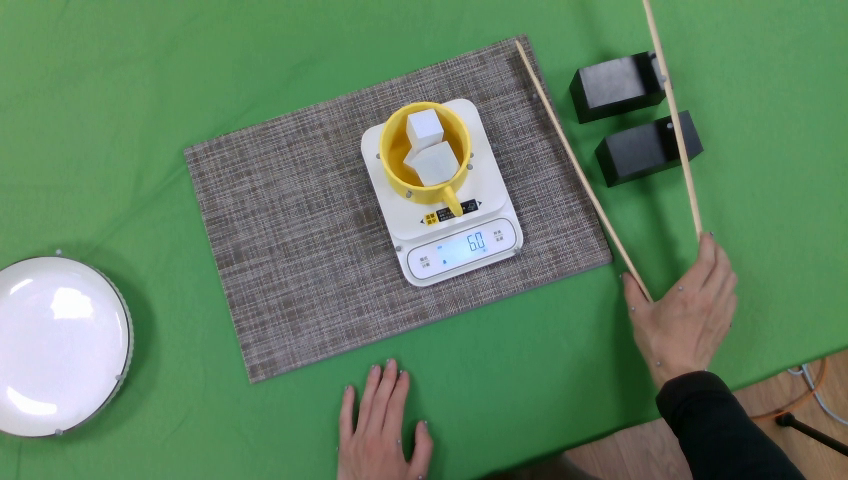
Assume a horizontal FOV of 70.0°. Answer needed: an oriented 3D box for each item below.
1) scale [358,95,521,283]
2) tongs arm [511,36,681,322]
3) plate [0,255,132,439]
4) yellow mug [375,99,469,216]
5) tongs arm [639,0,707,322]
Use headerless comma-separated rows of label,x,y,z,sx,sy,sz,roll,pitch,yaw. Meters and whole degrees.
scale,0.018,-0.062,0.717,0.149,0.031,0.200,-19,82,0
tongs arm,0.194,-0.075,0.711,0.028,0.028,0.386,-29,82,18
plate,-0.440,0.123,0.706,0.207,0.039,0.207,0,82,1
yellow mug,0.006,-0.085,0.673,0.100,0.064,0.130,-29,83,-3
tongs arm,0.264,-0.101,0.678,0.050,0.026,0.384,-15,88,23
